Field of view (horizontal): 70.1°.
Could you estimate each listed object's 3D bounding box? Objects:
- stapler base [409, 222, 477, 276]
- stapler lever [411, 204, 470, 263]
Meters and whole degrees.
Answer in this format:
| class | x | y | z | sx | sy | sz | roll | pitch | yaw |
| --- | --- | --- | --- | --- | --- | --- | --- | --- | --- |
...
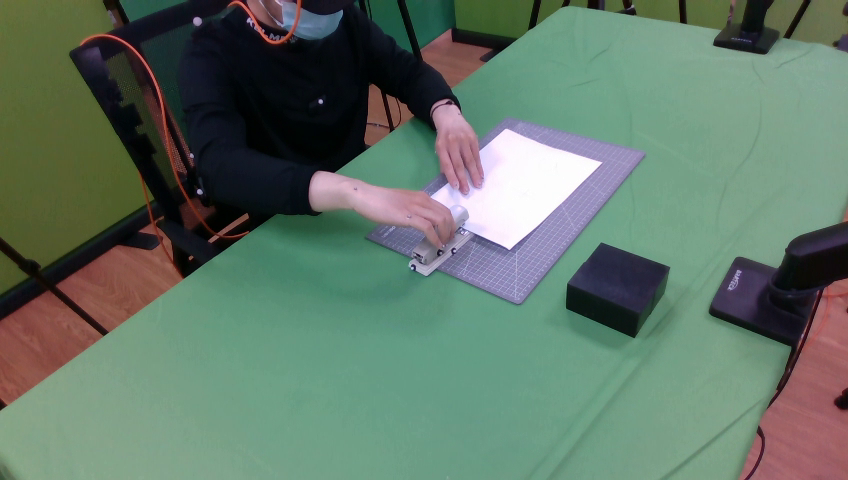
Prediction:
| class | x | y | z | sx | sy | sz | roll | pitch | yaw |
| --- | --- | --- | --- | --- | --- | --- | --- | --- | --- |
| stapler base | 0.031 | 0.005 | 0.955 | 0.041 | 0.024 | 0.131 | 26 | 53 | 35 |
| stapler lever | 0.027 | -0.013 | 0.937 | 0.026 | 0.040 | 0.118 | 26 | 52 | 35 |
